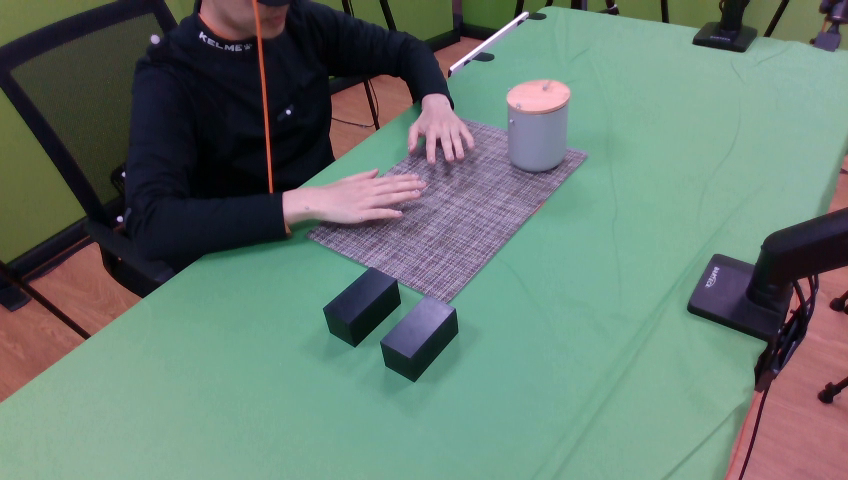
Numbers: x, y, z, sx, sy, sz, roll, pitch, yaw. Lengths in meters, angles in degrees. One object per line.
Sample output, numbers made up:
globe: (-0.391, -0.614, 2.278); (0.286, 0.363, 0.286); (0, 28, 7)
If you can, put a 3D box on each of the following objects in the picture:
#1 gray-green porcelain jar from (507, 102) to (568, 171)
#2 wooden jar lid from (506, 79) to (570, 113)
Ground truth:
gray-green porcelain jar: (0.202, -0.196, 1.081); (0.106, 0.127, 0.105); (-4, 41, 4)
wooden jar lid: (0.197, -0.243, 1.041); (0.108, 0.021, 0.108); (-7, 41, 7)
